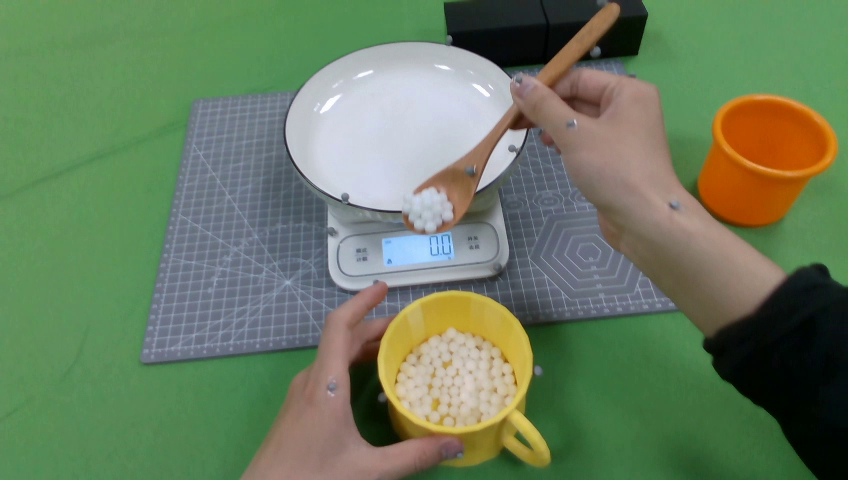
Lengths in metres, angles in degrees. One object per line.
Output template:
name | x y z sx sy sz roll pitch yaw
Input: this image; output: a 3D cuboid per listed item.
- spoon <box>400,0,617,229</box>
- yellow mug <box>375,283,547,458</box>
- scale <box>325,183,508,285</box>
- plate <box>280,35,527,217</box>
spoon | 0.055 -0.081 0.391 0.194 0.022 0.041 -48 60 11
yellow mug | 0.031 0.097 0.407 0.100 0.064 0.130 -41 63 -20
scale | -0.013 -0.056 0.533 0.149 0.032 0.199 -6 55 0
plate | -0.017 -0.098 0.523 0.209 0.038 0.207 -1 55 2
